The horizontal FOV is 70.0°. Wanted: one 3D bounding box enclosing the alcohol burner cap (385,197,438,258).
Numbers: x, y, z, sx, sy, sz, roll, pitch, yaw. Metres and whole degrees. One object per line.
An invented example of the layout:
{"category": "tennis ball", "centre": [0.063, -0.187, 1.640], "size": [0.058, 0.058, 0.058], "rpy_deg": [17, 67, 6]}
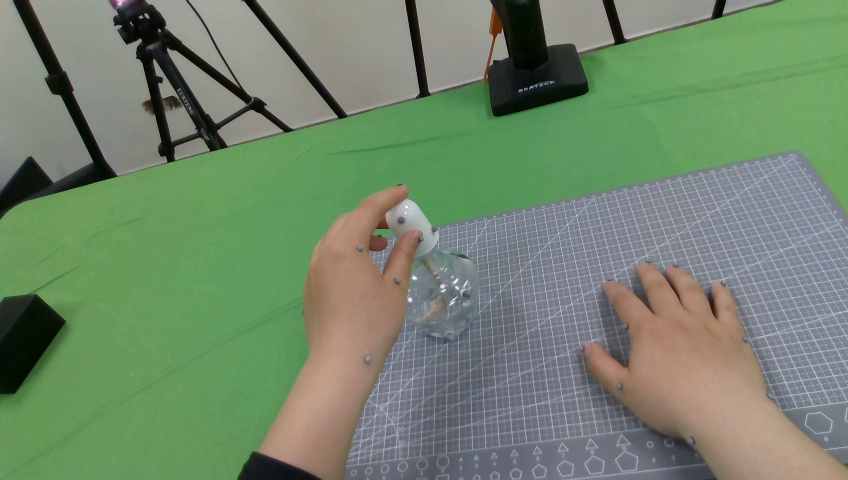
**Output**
{"category": "alcohol burner cap", "centre": [-0.011, -0.013, 0.472], "size": [0.034, 0.048, 0.033], "rpy_deg": [-14, 45, 15]}

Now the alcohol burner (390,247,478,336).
{"category": "alcohol burner", "centre": [0.004, 0.026, 0.509], "size": [0.078, 0.120, 0.077], "rpy_deg": [-11, 43, 10]}
